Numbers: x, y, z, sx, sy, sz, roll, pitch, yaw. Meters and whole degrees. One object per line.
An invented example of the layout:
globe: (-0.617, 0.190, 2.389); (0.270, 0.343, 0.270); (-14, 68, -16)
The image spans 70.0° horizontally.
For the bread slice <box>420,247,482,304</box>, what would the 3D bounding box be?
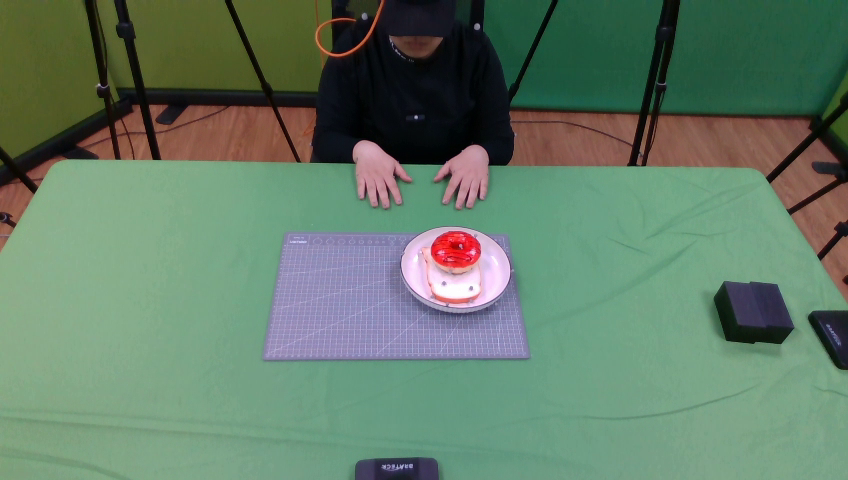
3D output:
bread slice: (0.055, 0.062, 1.131); (0.107, 0.018, 0.133); (-6, 47, -8)

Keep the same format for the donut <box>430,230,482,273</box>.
donut: (0.060, 0.020, 1.132); (0.099, 0.048, 0.098); (0, 43, 0)

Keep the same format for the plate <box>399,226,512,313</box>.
plate: (0.057, 0.057, 1.134); (0.209, 0.038, 0.208); (2, 46, -2)
